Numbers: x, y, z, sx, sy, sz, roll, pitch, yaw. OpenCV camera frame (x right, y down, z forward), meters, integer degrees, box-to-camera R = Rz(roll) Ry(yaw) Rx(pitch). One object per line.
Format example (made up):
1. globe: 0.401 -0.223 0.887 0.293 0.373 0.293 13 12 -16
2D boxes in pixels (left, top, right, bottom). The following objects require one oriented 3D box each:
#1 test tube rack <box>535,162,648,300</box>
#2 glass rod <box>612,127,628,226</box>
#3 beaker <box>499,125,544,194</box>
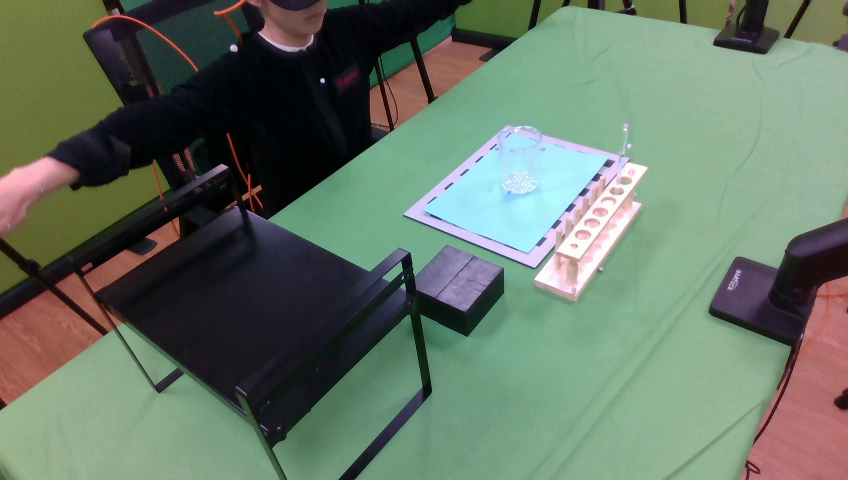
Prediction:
1. test tube rack: 0.257 -0.024 0.916 0.066 0.085 0.243 22 49 30
2. glass rod: 0.285 -0.086 0.883 0.008 0.201 0.008 -6 50 7
3. beaker: 0.168 -0.138 1.046 0.074 0.101 0.083 -8 40 0
